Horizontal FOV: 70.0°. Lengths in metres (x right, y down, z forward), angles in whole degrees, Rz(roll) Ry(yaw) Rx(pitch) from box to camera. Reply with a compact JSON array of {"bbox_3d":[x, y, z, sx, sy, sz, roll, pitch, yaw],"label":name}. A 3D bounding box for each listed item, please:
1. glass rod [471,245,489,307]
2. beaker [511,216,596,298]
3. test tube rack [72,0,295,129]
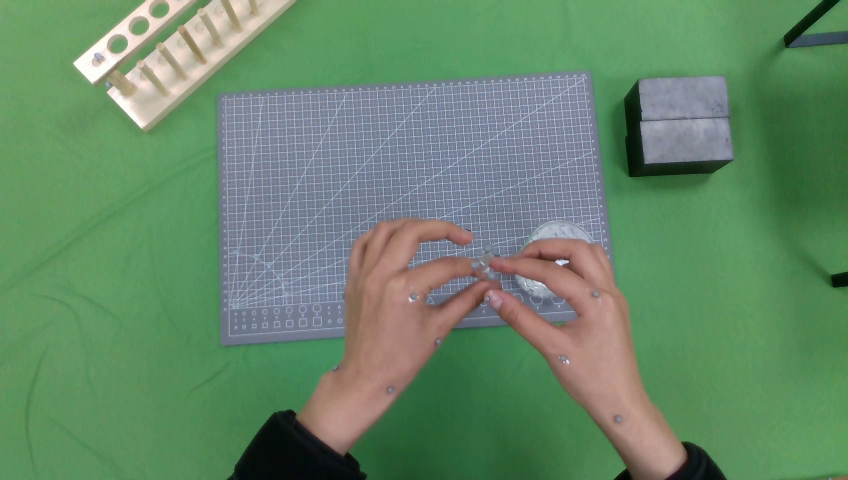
[{"bbox_3d":[0.043,0.033,0.479,0.008,0.201,0.008,-1,74,3],"label":"glass rod"},{"bbox_3d":[0.131,0.025,0.647,0.084,0.100,0.074,-41,82,-6],"label":"beaker"},{"bbox_3d":[-0.266,-0.245,0.695,0.242,0.085,0.066,-44,83,-7],"label":"test tube rack"}]
